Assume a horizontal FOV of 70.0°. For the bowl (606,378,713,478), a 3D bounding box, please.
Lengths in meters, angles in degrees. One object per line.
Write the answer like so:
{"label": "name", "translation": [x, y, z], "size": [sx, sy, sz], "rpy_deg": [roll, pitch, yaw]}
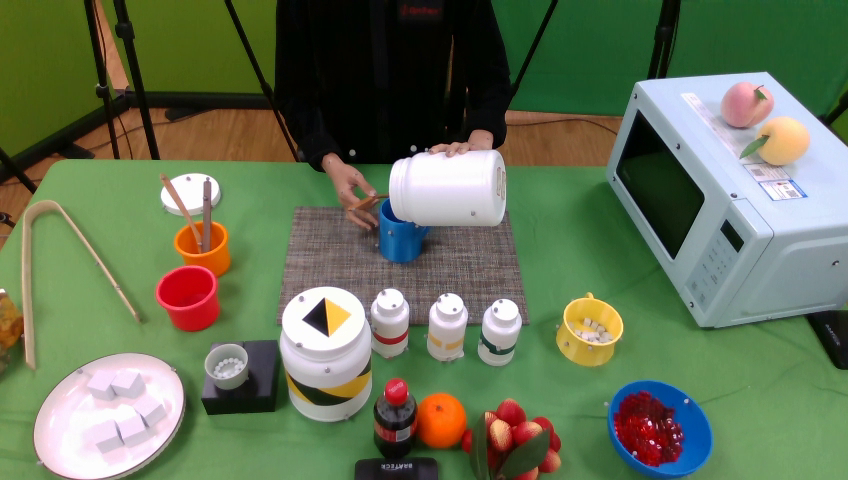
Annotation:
{"label": "bowl", "translation": [0.340, 0.292, 0.906], "size": [0.151, 0.077, 0.150], "rpy_deg": [2, 46, -2]}

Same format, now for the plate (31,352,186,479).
{"label": "plate", "translation": [-0.459, 0.262, 0.898], "size": [0.209, 0.038, 0.208], "rpy_deg": [2, 46, -2]}

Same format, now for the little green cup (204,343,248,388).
{"label": "little green cup", "translation": [-0.294, 0.190, 0.909], "size": [0.061, 0.039, 0.061], "rpy_deg": [1, 48, 0]}

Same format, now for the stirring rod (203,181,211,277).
{"label": "stirring rod", "translation": [-0.396, -0.021, 1.107], "size": [0.014, 0.006, 0.176], "rpy_deg": [-1, 89, -1]}

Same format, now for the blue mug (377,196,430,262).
{"label": "blue mug", "translation": [-0.033, -0.028, 1.159], "size": [0.116, 0.106, 0.082], "rpy_deg": [-23, 53, -24]}

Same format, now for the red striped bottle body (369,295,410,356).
{"label": "red striped bottle body", "translation": [-0.058, 0.135, 0.997], "size": [0.063, 0.120, 0.062], "rpy_deg": [6, 49, -6]}

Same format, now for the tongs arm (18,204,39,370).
{"label": "tongs arm", "translation": [-0.698, 0.069, 1.069], "size": [0.028, 0.028, 0.385], "rpy_deg": [-20, 50, -13]}

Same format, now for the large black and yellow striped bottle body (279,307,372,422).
{"label": "large black and yellow striped bottle body", "translation": [-0.145, 0.173, 0.907], "size": [0.131, 0.185, 0.130], "rpy_deg": [2, 46, -2]}

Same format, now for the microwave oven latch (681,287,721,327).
{"label": "microwave oven latch", "translation": [0.494, 0.119, 1.087], "size": [0.030, 0.029, 0.078], "rpy_deg": [-6, 46, -9]}

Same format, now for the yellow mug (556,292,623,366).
{"label": "yellow mug", "translation": [0.285, 0.145, 1.051], "size": [0.100, 0.064, 0.130], "rpy_deg": [7, 45, 3]}

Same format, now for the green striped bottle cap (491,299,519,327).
{"label": "green striped bottle cap", "translation": [0.128, 0.115, 0.958], "size": [0.044, 0.020, 0.044], "rpy_deg": [1, 47, -1]}

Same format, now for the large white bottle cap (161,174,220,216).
{"label": "large white bottle cap", "translation": [-0.483, -0.095, 1.253], "size": [0.115, 0.018, 0.114], "rpy_deg": [2, 46, -2]}

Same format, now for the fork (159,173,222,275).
{"label": "fork", "translation": [-0.427, -0.029, 1.103], "size": [0.028, 0.018, 0.207], "rpy_deg": [-31, 99, -31]}

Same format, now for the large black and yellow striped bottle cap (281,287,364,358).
{"label": "large black and yellow striped bottle cap", "translation": [-0.141, 0.112, 0.847], "size": [0.115, 0.019, 0.114], "rpy_deg": [5, 45, -4]}

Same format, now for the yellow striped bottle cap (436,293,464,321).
{"label": "yellow striped bottle cap", "translation": [0.041, 0.106, 0.959], "size": [0.044, 0.019, 0.044], "rpy_deg": [-1, 51, 2]}

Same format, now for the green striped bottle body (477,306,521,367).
{"label": "green striped bottle body", "translation": [0.124, 0.151, 0.995], "size": [0.063, 0.120, 0.063], "rpy_deg": [2, 46, -2]}

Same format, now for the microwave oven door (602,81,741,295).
{"label": "microwave oven door", "translation": [0.456, -0.107, 1.162], "size": [0.039, 0.245, 0.353], "rpy_deg": [-7, 47, -11]}

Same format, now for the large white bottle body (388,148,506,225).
{"label": "large white bottle body", "translation": [0.041, -0.090, 1.054], "size": [0.184, 0.131, 0.130], "rpy_deg": [0, 44, 20]}

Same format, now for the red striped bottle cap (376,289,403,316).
{"label": "red striped bottle cap", "translation": [-0.055, 0.098, 0.959], "size": [0.044, 0.018, 0.044], "rpy_deg": [0, 48, 0]}

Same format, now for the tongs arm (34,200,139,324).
{"label": "tongs arm", "translation": [-0.622, 0.034, 1.105], "size": [0.051, 0.026, 0.382], "rpy_deg": [-32, 56, -25]}

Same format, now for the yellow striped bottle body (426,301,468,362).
{"label": "yellow striped bottle body", "translation": [0.037, 0.142, 0.996], "size": [0.063, 0.121, 0.062], "rpy_deg": [3, 46, -2]}

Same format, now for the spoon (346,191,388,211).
{"label": "spoon", "translation": [-0.090, -0.081, 1.159], "size": [0.041, 0.022, 0.194], "rpy_deg": [17, 20, 27]}

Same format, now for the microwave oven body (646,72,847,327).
{"label": "microwave oven body", "translation": [0.607, -0.089, 1.164], "size": [0.326, 0.261, 0.438], "rpy_deg": [-7, 46, -10]}
